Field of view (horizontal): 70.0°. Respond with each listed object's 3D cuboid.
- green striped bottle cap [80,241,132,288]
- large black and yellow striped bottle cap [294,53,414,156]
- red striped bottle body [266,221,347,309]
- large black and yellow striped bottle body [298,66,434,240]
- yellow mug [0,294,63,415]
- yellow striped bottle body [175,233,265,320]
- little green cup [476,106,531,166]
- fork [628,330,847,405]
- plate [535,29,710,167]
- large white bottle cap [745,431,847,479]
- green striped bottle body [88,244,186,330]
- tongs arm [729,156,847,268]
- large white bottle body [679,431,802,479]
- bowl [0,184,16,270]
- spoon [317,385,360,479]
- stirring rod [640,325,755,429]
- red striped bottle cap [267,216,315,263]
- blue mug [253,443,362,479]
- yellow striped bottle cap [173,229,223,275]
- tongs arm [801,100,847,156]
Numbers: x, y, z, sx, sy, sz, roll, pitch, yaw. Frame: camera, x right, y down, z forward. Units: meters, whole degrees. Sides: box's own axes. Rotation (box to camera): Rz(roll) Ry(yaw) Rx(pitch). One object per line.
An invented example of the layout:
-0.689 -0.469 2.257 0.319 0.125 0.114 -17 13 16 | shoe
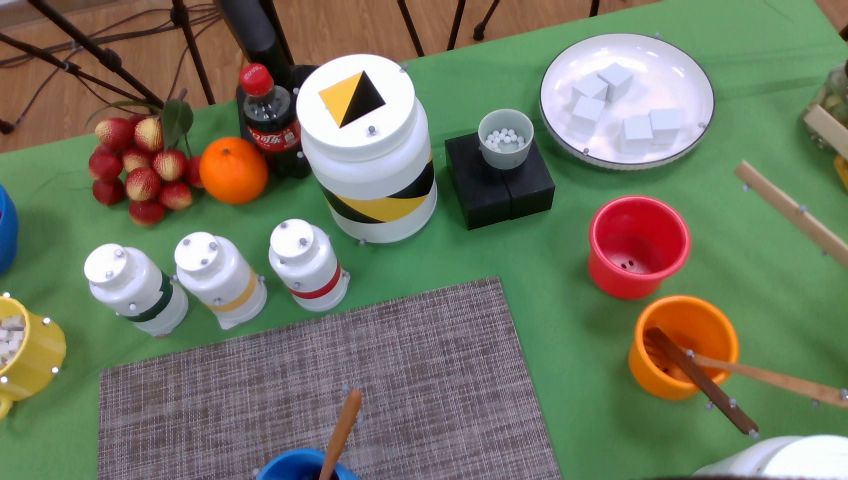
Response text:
-0.312 0.024 0.595 0.044 0.020 0.044 -1 63 1 | green striped bottle cap
-0.067 -0.132 0.582 0.115 0.019 0.114 -2 62 5 | large black and yellow striped bottle cap
-0.124 0.024 0.638 0.063 0.121 0.062 -3 62 6 | red striped bottle body
-0.060 -0.095 0.657 0.131 0.185 0.129 -2 63 4 | large black and yellow striped bottle body
-0.456 0.129 0.643 0.100 0.064 0.129 -4 63 2 | yellow mug
-0.217 0.035 0.640 0.063 0.121 0.062 -2 62 5 | yellow striped bottle body
0.088 -0.115 0.680 0.061 0.039 0.061 -2 61 4 | little green cup
0.271 0.112 0.542 0.028 0.019 0.206 -50 25 -18 | fork
0.242 -0.174 0.754 0.209 0.038 0.207 -2 63 4 | plate
0.268 0.182 0.390 0.115 0.018 0.114 -2 62 4 | large white bottle cap
-0.306 0.048 0.642 0.063 0.120 0.062 -2 62 4 | green striped bottle body
0.450 0.044 0.557 0.051 0.027 0.382 -36 70 -14 | tongs arm
0.276 0.221 0.465 0.130 0.186 0.129 -2 62 4 | large white bottle body
-0.544 -0.003 0.712 0.151 0.077 0.150 -2 63 4 | bowl
-0.080 0.192 0.504 0.041 0.195 0.021 33 36 21 | spoon
0.241 0.118 0.549 0.014 0.006 0.175 -10 19 -4 | stirring rod
-0.130 -0.001 0.592 0.044 0.018 0.044 0 61 1 | red striped bottle cap
-0.108 0.242 0.529 0.082 0.107 0.116 35 71 21 | blue mug
-0.222 0.012 0.594 0.044 0.019 0.044 -2 64 3 | yellow striped bottle cap
0.500 0.009 0.570 0.028 0.028 0.384 -27 69 -15 | tongs arm
